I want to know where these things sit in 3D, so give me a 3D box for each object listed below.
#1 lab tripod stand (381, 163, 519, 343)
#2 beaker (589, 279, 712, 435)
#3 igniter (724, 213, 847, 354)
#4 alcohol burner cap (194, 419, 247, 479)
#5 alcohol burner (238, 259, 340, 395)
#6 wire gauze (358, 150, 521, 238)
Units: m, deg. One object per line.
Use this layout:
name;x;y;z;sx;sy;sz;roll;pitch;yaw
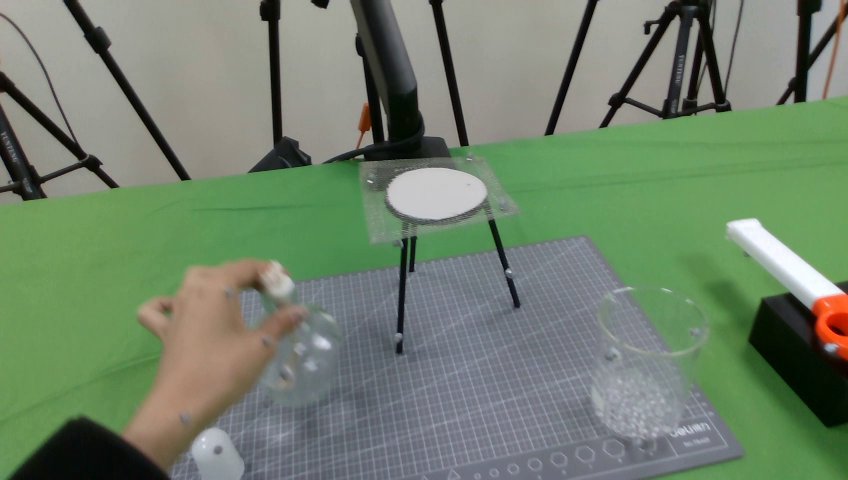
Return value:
lab tripod stand;0.016;0.005;0.558;0.148;0.132;0.147;-2;34;2
beaker;0.162;0.089;0.456;0.074;0.101;0.083;-19;38;-20
igniter;0.325;0.053;0.478;0.057;0.025;0.273;-8;32;-4
alcohol burner cap;-0.152;0.153;0.448;0.034;0.048;0.033;-2;36;2
alcohol burner;-0.104;0.060;0.455;0.078;0.120;0.077;0;39;1
wire gauze;0.008;-0.047;0.516;0.121;0.011;0.123;-8;36;-7
